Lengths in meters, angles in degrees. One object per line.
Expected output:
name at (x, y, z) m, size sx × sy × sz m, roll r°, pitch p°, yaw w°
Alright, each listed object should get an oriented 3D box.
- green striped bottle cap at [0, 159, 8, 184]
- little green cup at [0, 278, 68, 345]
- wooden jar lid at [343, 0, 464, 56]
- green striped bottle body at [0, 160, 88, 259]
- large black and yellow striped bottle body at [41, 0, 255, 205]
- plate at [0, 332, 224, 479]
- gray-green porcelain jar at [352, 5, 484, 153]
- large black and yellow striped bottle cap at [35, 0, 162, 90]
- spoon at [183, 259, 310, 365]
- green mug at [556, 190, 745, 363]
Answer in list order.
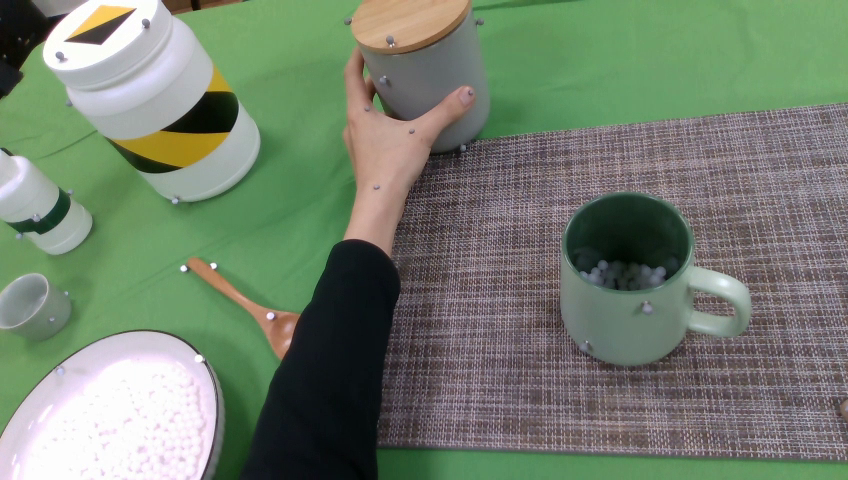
green striped bottle cap at (-0.430, -0.065, 0.588) m, size 0.044 × 0.020 × 0.044 m, roll -6°, pitch 57°, yaw 10°
little green cup at (-0.388, 0.072, 0.599) m, size 0.061 × 0.039 × 0.061 m, roll -8°, pitch 54°, yaw 12°
wooden jar lid at (-0.017, -0.193, 0.528) m, size 0.108 × 0.021 × 0.107 m, roll -10°, pitch 53°, yaw 14°
green striped bottle body at (-0.417, -0.036, 0.629) m, size 0.063 × 0.120 × 0.062 m, roll -8°, pitch 55°, yaw 12°
large black and yellow striped bottle body at (-0.271, -0.137, 0.612) m, size 0.130 × 0.186 × 0.129 m, roll -8°, pitch 55°, yaw 12°
plate at (-0.253, 0.175, 0.488) m, size 0.209 × 0.038 × 0.207 m, roll -8°, pitch 55°, yaw 12°
gray-green porcelain jar at (-0.001, -0.155, 0.576) m, size 0.106 × 0.128 × 0.105 m, roll -9°, pitch 51°, yaw 11°
large black and yellow striped bottle cap at (-0.293, -0.181, 0.544) m, size 0.115 × 0.019 × 0.114 m, roll -8°, pitch 54°, yaw 12°
spoon at (-0.167, 0.056, 0.551) m, size 0.192 × 0.022 × 0.041 m, roll 28°, pitch 88°, yaw 30°
green mug at (0.151, 0.031, 0.415) m, size 0.124 × 0.106 × 0.092 m, roll 16°, pitch 62°, yaw 25°
